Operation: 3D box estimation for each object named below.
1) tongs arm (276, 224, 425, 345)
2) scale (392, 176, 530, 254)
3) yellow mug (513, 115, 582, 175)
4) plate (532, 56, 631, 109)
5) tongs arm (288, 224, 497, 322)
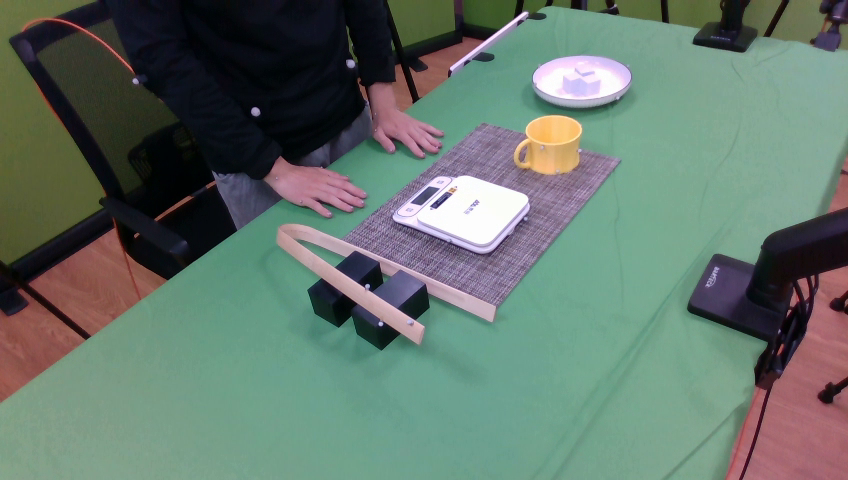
[{"bbox_3d":[-0.114,0.050,0.856,0.051,0.026,0.381,-7,24,-44],"label":"tongs arm"},{"bbox_3d":[0.060,-0.050,1.006,0.199,0.032,0.149,22,48,30],"label":"scale"},{"bbox_3d":[0.220,-0.168,1.094,0.131,0.064,0.099,-21,42,-14],"label":"yellow mug"},{"bbox_3d":[0.336,-0.336,1.301,0.207,0.039,0.206,-4,41,4],"label":"plate"},{"bbox_3d":[-0.060,0.043,0.918,0.384,0.028,0.028,21,24,28],"label":"tongs arm"}]
